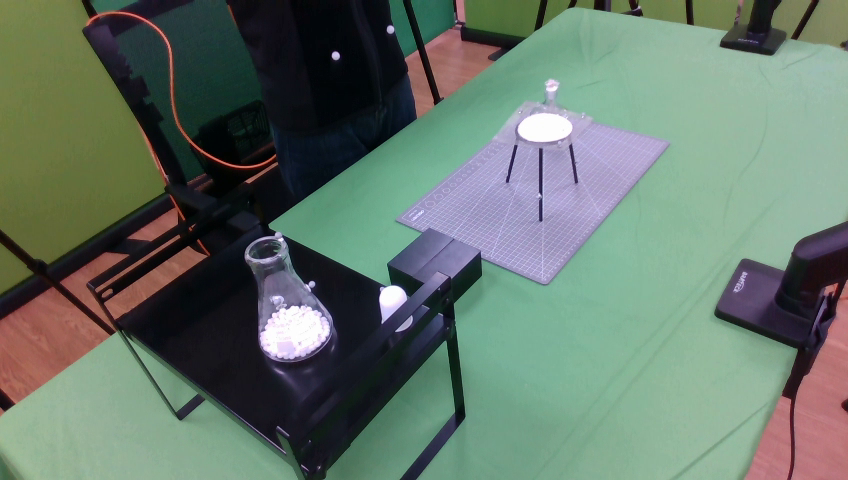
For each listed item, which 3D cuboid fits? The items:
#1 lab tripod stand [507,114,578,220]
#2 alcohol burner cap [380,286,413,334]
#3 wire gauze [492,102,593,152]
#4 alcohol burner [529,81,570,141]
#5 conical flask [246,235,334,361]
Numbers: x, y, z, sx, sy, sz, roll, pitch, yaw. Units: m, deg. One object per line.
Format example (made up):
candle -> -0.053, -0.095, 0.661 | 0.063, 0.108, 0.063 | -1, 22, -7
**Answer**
lab tripod stand -> 0.198, -0.128, 1.005 | 0.148, 0.132, 0.147 | -3, 42, 3
alcohol burner cap -> -0.029, 0.068, 0.605 | 0.034, 0.048, 0.033 | -5, 40, 4
wire gauze -> 0.190, -0.180, 0.964 | 0.120, 0.011, 0.125 | 19, 47, 27
alcohol burner -> 0.241, -0.251, 1.159 | 0.078, 0.119, 0.077 | -3, 42, 4
conical flask -> -0.134, 0.053, 0.576 | 0.075, 0.122, 0.075 | -5, 40, 4
